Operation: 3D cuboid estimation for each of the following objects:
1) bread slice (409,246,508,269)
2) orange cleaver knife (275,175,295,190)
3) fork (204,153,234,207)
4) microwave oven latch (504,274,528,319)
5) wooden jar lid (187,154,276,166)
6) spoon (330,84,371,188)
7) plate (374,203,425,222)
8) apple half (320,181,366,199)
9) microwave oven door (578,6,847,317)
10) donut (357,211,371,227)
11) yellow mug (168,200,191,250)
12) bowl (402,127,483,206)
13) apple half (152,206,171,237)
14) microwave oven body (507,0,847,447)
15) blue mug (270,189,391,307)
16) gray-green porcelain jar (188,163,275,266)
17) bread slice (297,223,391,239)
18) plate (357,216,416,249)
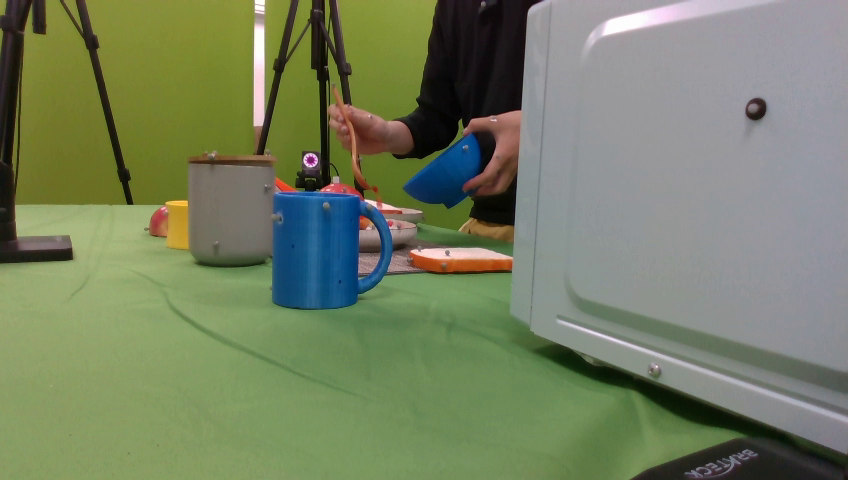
[{"bbox_3d":[0.048,0.022,0.816,0.132,0.019,0.104,0,7,-24],"label":"bread slice"},{"bbox_3d":[-0.283,-0.087,1.343,0.212,0.077,0.012,24,-16,-41],"label":"orange cleaver knife"},{"bbox_3d":[-0.480,-0.135,1.411,0.028,0.018,0.207,1,-34,-1],"label":"fork"},{"bbox_3d":[0.100,0.041,0.470,0.079,0.029,0.030,-1,7,-27],"label":"microwave oven latch"},{"bbox_3d":[-0.244,-0.097,0.771,0.108,0.020,0.108,-1,7,0],"label":"wooden jar lid"},{"bbox_3d":[-0.120,-0.170,0.980,0.021,0.193,0.042,-17,-15,3],"label":"spoon"},{"bbox_3d":[-0.102,-0.053,1.299,0.209,0.038,0.209,2,8,0],"label":"plate"},{"bbox_3d":[-0.130,-0.077,0.952,0.081,0.033,0.081,2,15,0],"label":"apple half"},{"bbox_3d":[0.294,-0.067,0.570,0.358,0.243,0.039,-3,9,-31],"label":"microwave oven door"},{"bbox_3d":[-0.132,-0.041,0.959,0.099,0.048,0.099,3,8,0],"label":"donut"},{"bbox_3d":[-0.320,-0.023,0.904,0.130,0.064,0.100,8,10,36],"label":"yellow mug"},{"bbox_3d":[0.045,-0.110,0.998,0.151,0.077,0.151,-39,7,6],"label":"bowl"},{"bbox_3d":[-0.415,-0.034,1.017,0.081,0.053,0.074,1,10,-9],"label":"apple half"},{"bbox_3d":[0.331,-0.042,0.425,0.444,0.260,0.324,-2,8,-31],"label":"microwave oven body"},{"bbox_3d":[-0.090,0.005,0.588,0.117,0.106,0.082,0,7,-11],"label":"blue mug"},{"bbox_3d":[-0.246,-0.034,0.780,0.106,0.126,0.106,2,7,0],"label":"gray-green porcelain jar"},{"bbox_3d":[-0.121,-0.015,0.969,0.106,0.018,0.135,8,8,41],"label":"bread slice"},{"bbox_3d":[-0.116,-0.014,0.967,0.208,0.039,0.207,2,7,0],"label":"plate"}]
